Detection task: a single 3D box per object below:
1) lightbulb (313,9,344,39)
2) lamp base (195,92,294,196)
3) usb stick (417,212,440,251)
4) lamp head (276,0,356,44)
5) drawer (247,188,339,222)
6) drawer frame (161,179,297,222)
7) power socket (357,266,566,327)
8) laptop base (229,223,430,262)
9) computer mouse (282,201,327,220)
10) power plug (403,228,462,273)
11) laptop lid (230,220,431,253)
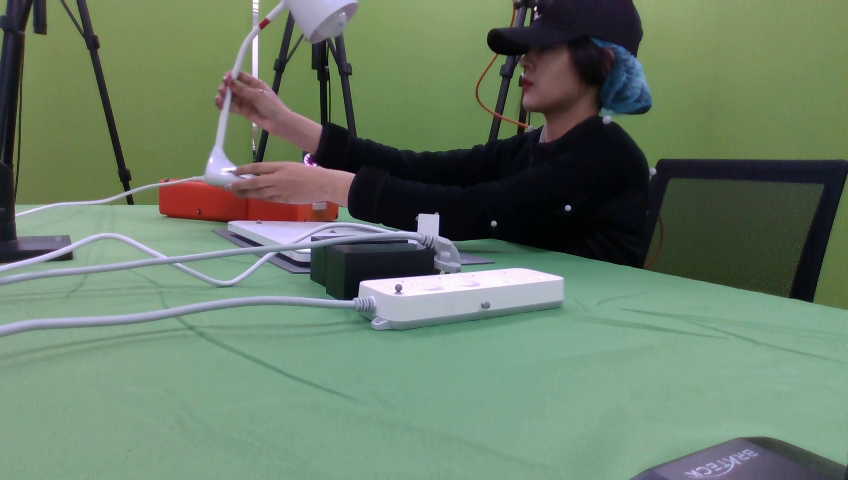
[{"bbox_3d":[-0.186,-0.405,1.065,0.059,0.107,0.059,-38,3,3],"label":"lightbulb"},{"bbox_3d":[-0.325,-0.178,1.117,0.180,0.180,0.160,5,0,-13],"label":"lamp base"},{"bbox_3d":[0.005,-0.003,0.721,0.027,0.059,0.021,0,-4,-2],"label":"usb stick"},{"bbox_3d":[-0.201,-0.424,1.070,0.123,0.112,0.112,47,4,-4],"label":"lamp head"},{"bbox_3d":[-0.315,-0.079,1.301,0.211,0.073,0.195,4,8,15],"label":"drawer"},{"bbox_3d":[-0.421,-0.089,1.329,0.213,0.082,0.202,4,8,16],"label":"drawer frame"},{"bbox_3d":[0.041,0.049,0.573,0.228,0.032,0.072,-3,8,-34],"label":"power socket"},{"bbox_3d":[-0.145,0.002,0.943,0.237,0.023,0.352,2,6,-32],"label":"laptop base"},{"bbox_3d":[-0.254,-0.062,1.292,0.063,0.041,0.117,1,2,10],"label":"computer mouse"},{"bbox_3d":[0.006,0.016,0.647,0.073,0.052,0.035,18,12,-6],"label":"power plug"},{"bbox_3d":[-0.143,-0.009,0.942,0.243,0.013,0.355,1,7,-31],"label":"laptop lid"}]
